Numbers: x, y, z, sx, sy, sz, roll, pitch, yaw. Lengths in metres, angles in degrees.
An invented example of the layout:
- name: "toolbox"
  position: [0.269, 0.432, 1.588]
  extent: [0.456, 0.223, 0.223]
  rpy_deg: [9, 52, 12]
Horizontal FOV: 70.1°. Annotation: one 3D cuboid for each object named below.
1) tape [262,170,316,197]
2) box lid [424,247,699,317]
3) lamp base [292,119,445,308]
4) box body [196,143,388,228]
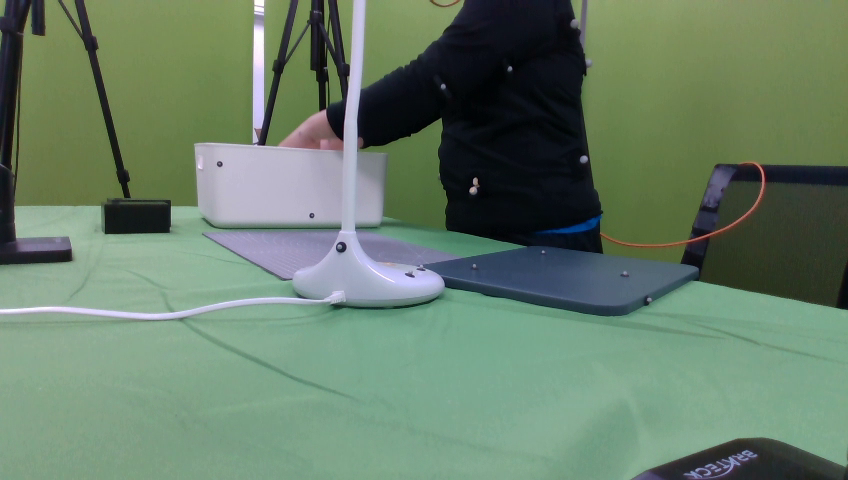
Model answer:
- name: "tape"
  position: [-0.288, -0.121, 1.293]
  extent: [0.117, 0.052, 0.117]
  rpy_deg: [2, 7, 0]
- name: "box lid"
  position: [0.184, 0.044, 0.789]
  extent: [0.262, 0.015, 0.373]
  rpy_deg: [8, 9, 35]
- name: "lamp base"
  position: [-0.056, -0.030, 0.616]
  extent: [0.160, 0.180, 0.179]
  rpy_deg: [4, 10, 8]
- name: "box body"
  position: [-0.286, -0.118, 1.291]
  extent: [0.366, 0.160, 0.253]
  rpy_deg: [-1, 8, -27]
